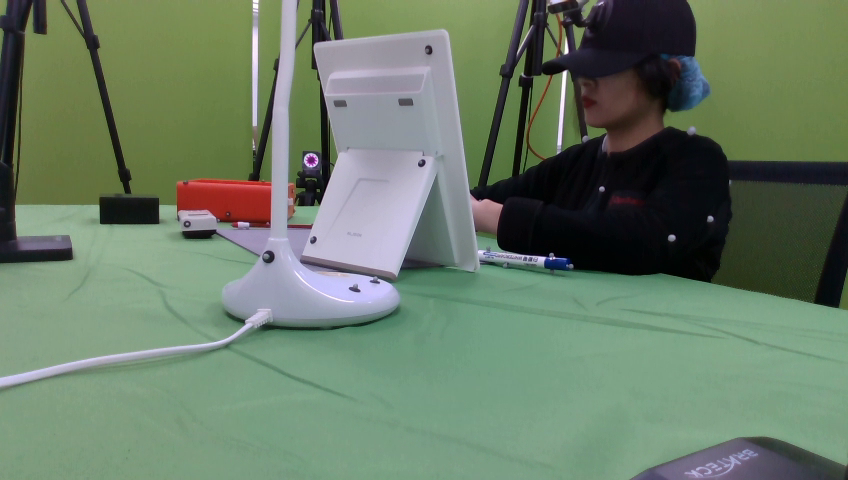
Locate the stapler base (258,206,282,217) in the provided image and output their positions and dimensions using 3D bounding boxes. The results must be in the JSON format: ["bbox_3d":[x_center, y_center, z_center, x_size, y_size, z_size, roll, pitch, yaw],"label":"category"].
[{"bbox_3d":[-0.331,-0.065,1.305,0.041,0.024,0.130,9,-1,-9],"label":"stapler base"}]

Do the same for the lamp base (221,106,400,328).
[{"bbox_3d":[-0.101,-0.023,0.531,0.160,0.180,0.179,4,10,10],"label":"lamp base"}]

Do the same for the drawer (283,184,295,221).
[{"bbox_3d":[-0.394,-0.087,1.317,0.212,0.073,0.194,1,8,-7],"label":"drawer"}]

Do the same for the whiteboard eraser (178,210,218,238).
[{"bbox_3d":[-0.380,-0.027,1.014,0.056,0.042,0.112,0,8,-25],"label":"whiteboard eraser"}]

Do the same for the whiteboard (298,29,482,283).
[{"bbox_3d":[-0.075,-0.082,0.741,0.216,0.305,0.144,9,29,37],"label":"whiteboard"}]

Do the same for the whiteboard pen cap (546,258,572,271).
[{"bbox_3d":[0.175,0.032,0.790,0.033,0.018,0.018,3,7,37],"label":"whiteboard pen cap"}]

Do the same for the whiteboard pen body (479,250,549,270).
[{"bbox_3d":[0.130,0.028,0.827,0.140,0.017,0.017,7,9,38],"label":"whiteboard pen body"}]

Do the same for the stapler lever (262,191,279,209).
[{"bbox_3d":[-0.329,-0.086,1.306,0.027,0.040,0.118,9,3,-9],"label":"stapler lever"}]

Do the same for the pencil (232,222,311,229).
[{"bbox_3d":[-0.261,-0.025,1.141,0.195,0.012,0.012,2,7,-26],"label":"pencil"}]

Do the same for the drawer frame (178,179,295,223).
[{"bbox_3d":[-0.397,-0.088,1.315,0.214,0.082,0.201,1,8,-7],"label":"drawer frame"}]
